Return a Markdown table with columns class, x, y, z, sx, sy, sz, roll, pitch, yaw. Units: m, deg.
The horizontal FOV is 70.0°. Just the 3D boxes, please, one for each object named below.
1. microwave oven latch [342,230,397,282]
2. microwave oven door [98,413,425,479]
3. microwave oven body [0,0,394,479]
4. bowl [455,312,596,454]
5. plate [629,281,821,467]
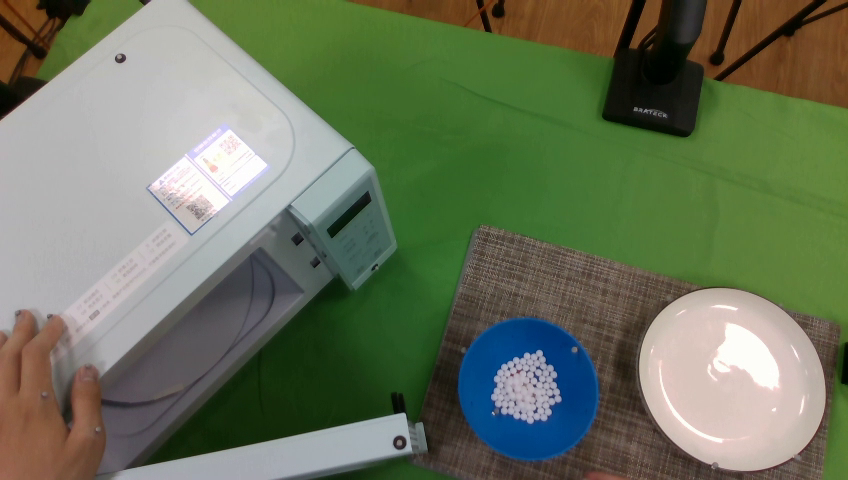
| class | x | y | z | sx | sy | sz | roll | pitch | yaw |
| --- | --- | --- | --- | --- | --- | --- | --- | --- | --- |
| microwave oven latch | -0.068 | 0.013 | 0.745 | 0.079 | 0.030 | 0.030 | -43 | 76 | -10 |
| microwave oven door | -0.181 | 0.215 | 0.577 | 0.356 | 0.245 | 0.039 | -12 | 72 | -2 |
| microwave oven body | -0.303 | 0.010 | 0.655 | 0.324 | 0.262 | 0.441 | 42 | 79 | 14 |
| bowl | 0.110 | 0.162 | 0.683 | 0.151 | 0.077 | 0.150 | -1 | 72 | 3 |
| plate | 0.339 | 0.152 | 0.697 | 0.207 | 0.039 | 0.206 | -1 | 72 | 2 |
